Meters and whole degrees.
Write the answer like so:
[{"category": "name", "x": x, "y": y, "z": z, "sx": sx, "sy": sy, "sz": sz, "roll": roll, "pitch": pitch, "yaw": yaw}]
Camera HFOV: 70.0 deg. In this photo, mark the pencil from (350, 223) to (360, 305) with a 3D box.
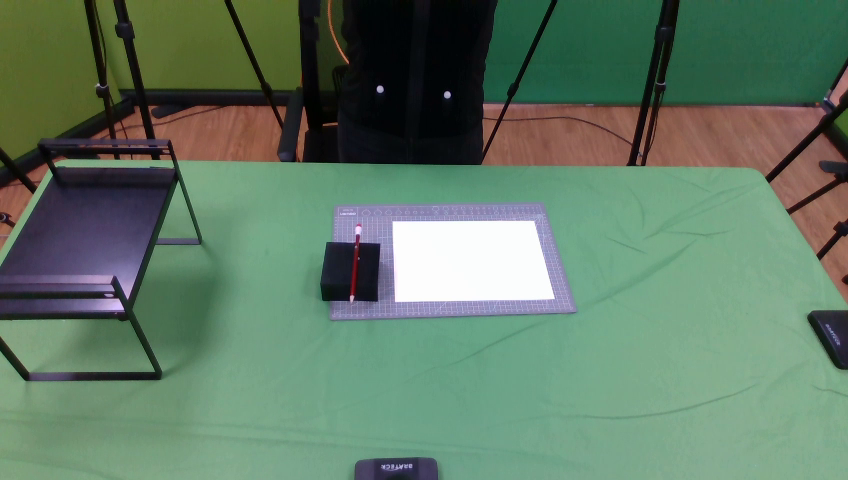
[{"category": "pencil", "x": -0.124, "y": 0.040, "z": 1.085, "sx": 0.012, "sy": 0.012, "sz": 0.193, "roll": 1, "pitch": 46, "yaw": -3}]
